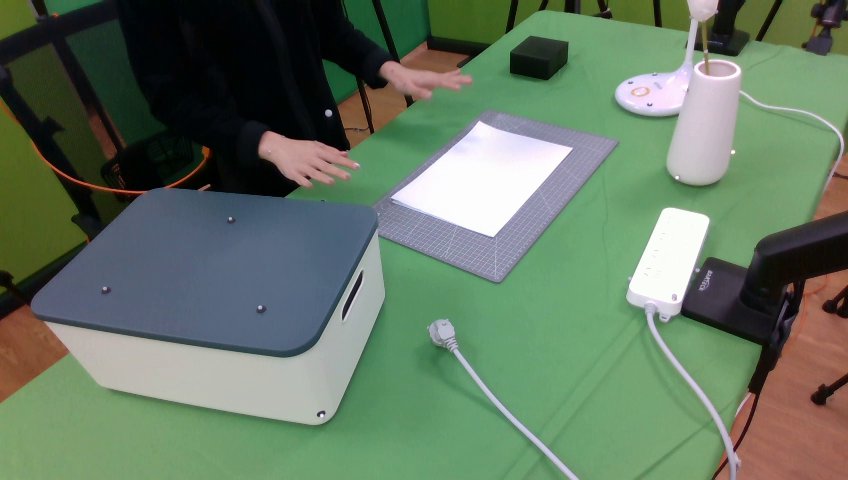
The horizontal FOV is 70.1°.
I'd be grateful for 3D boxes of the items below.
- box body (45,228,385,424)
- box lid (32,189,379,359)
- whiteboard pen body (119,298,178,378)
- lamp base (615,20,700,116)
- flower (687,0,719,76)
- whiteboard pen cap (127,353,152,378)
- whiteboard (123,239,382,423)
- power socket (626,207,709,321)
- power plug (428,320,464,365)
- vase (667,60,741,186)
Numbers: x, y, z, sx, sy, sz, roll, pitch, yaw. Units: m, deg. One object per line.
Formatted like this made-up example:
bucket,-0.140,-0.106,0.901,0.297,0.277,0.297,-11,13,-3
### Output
box body,-0.254,0.081,0.807,0.363,0.161,0.253,5,42,14
box lid,-0.260,0.025,0.758,0.370,0.015,0.263,5,41,14
whiteboard pen body,-0.396,0.139,0.869,0.017,0.017,0.140,6,46,15
lamp base,0.484,-0.364,1.211,0.180,0.181,0.159,-15,41,-14
flower,0.436,-0.242,0.934,0.038,0.364,0.043,-24,49,8
whiteboard pen cap,-0.385,0.170,0.819,0.018,0.018,0.033,7,41,16
whiteboard,-0.242,0.094,0.809,0.304,0.144,0.216,5,45,13
power socket,0.360,0.026,0.886,0.072,0.033,0.227,17,46,27
power plug,0.027,0.139,0.797,0.035,0.053,0.072,-8,61,-6
vase,0.463,-0.189,0.994,0.098,0.201,0.097,-4,40,4
